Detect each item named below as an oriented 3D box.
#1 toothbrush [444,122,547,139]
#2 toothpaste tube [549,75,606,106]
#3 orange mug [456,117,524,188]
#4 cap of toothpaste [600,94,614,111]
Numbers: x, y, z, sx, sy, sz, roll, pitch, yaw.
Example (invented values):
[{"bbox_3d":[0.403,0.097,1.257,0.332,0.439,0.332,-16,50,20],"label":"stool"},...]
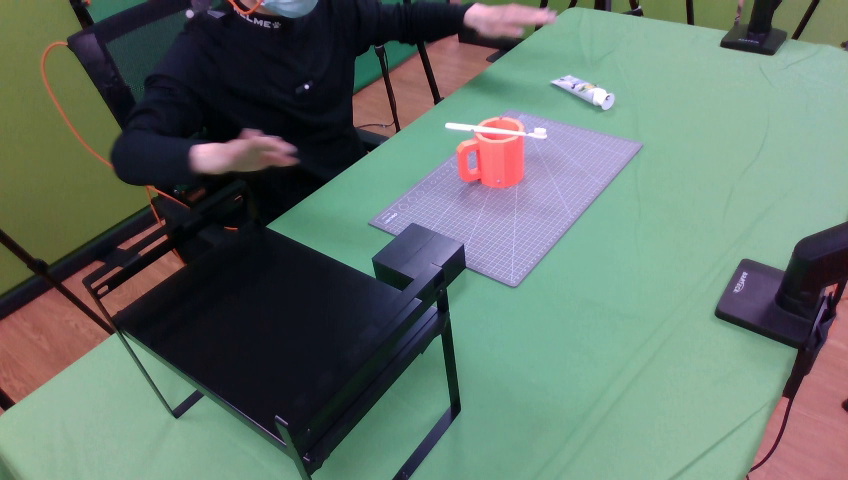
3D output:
[{"bbox_3d":[0.121,-0.190,1.034,0.181,0.017,0.014,10,46,18],"label":"toothbrush"},{"bbox_3d":[0.339,-0.324,1.299,0.055,0.034,0.163,-17,38,-21],"label":"toothpaste tube"},{"bbox_3d":[0.117,-0.152,1.071,0.127,0.101,0.083,-14,41,-14],"label":"orange mug"},{"bbox_3d":[0.373,-0.283,1.238,0.037,0.037,0.011,-29,46,-23],"label":"cap of toothpaste"}]
